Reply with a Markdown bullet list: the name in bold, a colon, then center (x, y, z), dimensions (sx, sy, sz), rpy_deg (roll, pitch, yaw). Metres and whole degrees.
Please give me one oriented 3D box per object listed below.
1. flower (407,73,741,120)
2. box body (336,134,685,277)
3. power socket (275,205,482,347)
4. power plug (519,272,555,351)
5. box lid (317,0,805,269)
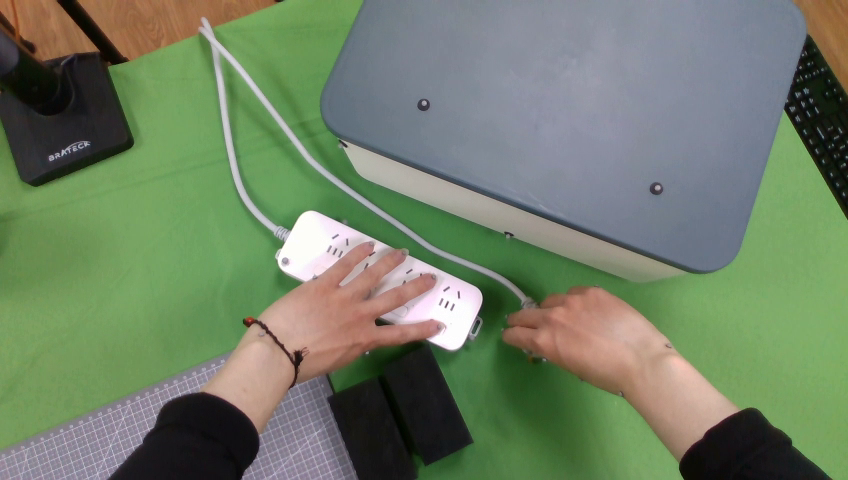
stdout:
- **flower**: center (0.149, -0.166, 0.667), dimensions (0.360, 0.038, 0.044), rpy_deg (8, 69, 20)
- **box body**: center (0.119, -0.137, 0.591), dimensions (0.364, 0.161, 0.253), rpy_deg (21, 80, 3)
- **power socket**: center (-0.045, 0.037, 0.623), dimensions (0.226, 0.033, 0.072), rpy_deg (25, 79, 4)
- **power plug**: center (0.114, 0.074, 0.602), dimensions (0.035, 0.053, 0.072), rpy_deg (11, 74, -5)
- **box lid**: center (0.121, -0.151, 0.518), dimensions (0.371, 0.015, 0.262), rpy_deg (21, 81, 3)
